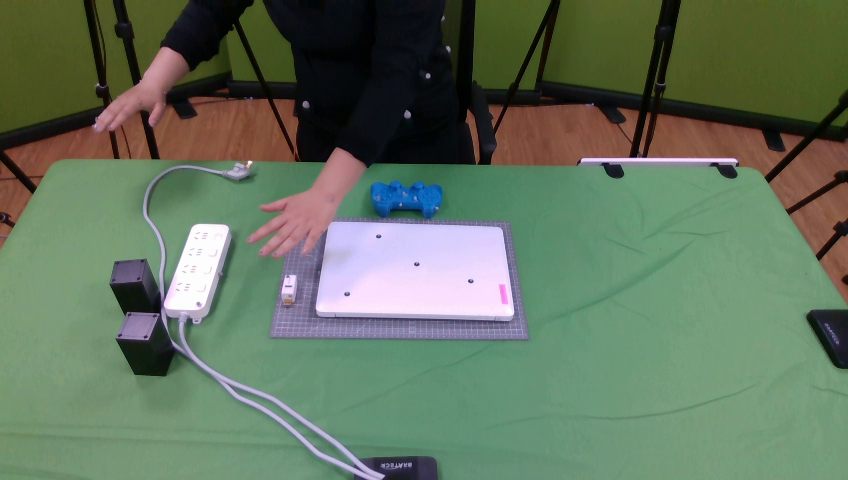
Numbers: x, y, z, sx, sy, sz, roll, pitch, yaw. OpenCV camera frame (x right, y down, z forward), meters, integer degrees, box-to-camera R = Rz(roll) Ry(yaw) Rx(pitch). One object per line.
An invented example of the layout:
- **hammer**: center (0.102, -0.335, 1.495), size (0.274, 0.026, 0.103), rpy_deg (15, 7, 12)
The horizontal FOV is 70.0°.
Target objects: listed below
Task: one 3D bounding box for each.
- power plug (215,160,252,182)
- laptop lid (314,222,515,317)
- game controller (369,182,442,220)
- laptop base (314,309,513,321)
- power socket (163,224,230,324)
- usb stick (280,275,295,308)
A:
- **power plug**: center (-0.409, -0.155, 1.303), size (0.072, 0.035, 0.052), rpy_deg (23, 65, 1)
- **laptop lid**: center (-0.016, 0.049, 1.134), size (0.357, 0.013, 0.240), rpy_deg (3, 43, -1)
- **game controller**: center (-0.039, -0.091, 1.268), size (0.155, 0.052, 0.096), rpy_deg (1, 50, -3)
- **laptop base**: center (-0.017, 0.059, 1.141), size (0.354, 0.023, 0.234), rpy_deg (2, 42, -3)
- **power socket**: center (-0.412, 0.052, 1.106), size (0.072, 0.033, 0.225), rpy_deg (3, 46, -3)
- **usb stick**: center (-0.245, 0.093, 1.080), size (0.021, 0.027, 0.059), rpy_deg (4, 48, -7)
